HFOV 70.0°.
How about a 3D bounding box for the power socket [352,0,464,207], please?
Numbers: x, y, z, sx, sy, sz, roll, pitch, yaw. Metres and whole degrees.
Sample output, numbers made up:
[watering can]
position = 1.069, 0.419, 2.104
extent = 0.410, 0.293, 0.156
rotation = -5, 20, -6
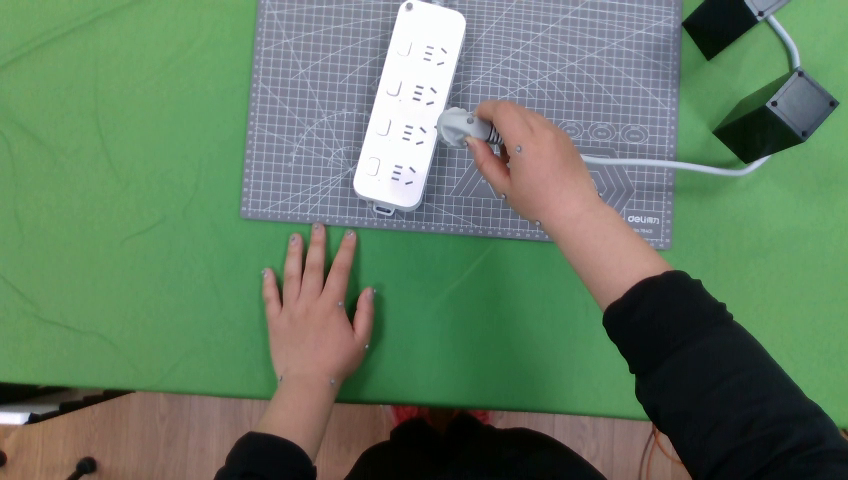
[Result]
[power socket]
position = -0.016, -0.145, 0.619
extent = 0.072, 0.032, 0.226
rotation = 15, 87, -2

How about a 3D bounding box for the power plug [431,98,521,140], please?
[power plug]
position = 0.040, -0.096, 0.533
extent = 0.073, 0.052, 0.035
rotation = 34, 79, -23
